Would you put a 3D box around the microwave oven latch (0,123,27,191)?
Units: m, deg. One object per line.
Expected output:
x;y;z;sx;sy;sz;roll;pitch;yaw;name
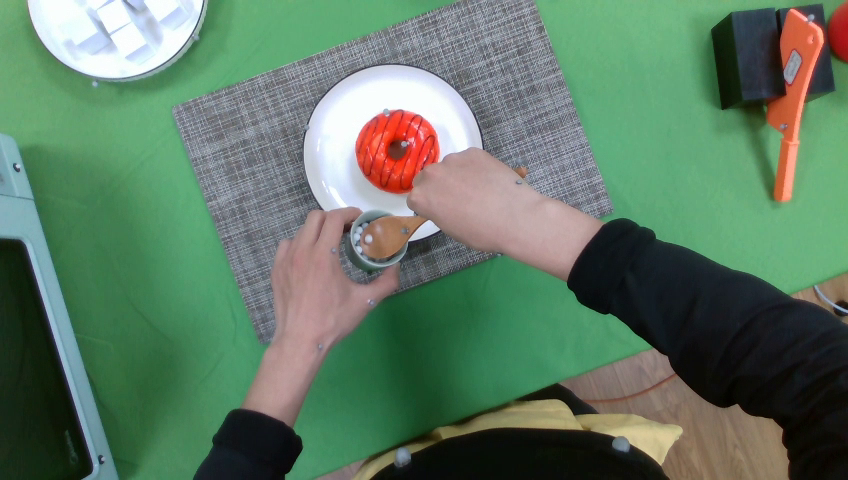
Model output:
-0.480;-0.093;0.685;0.030;0.029;0.079;-16;90;-1;microwave oven latch

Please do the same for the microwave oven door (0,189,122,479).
-0.417;0.115;0.583;0.039;0.244;0.355;-18;89;0;microwave oven door

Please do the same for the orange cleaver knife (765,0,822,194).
0.407;-0.158;0.684;0.012;0.076;0.213;-5;119;2;orange cleaver knife

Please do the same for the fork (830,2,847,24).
0.561;-0.257;0.653;0.206;0.019;0.028;8;87;42;fork

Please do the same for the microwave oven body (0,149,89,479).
-0.569;0.118;0.588;0.326;0.260;0.441;-18;90;-1;microwave oven body

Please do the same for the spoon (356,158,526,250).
0.011;-0.034;0.569;0.193;0.022;0.041;-23;78;35;spoon

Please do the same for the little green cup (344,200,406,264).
-0.053;-0.006;0.619;0.062;0.039;0.061;9;66;-20;little green cup

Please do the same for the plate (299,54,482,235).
-0.038;-0.107;0.702;0.209;0.038;0.209;0;90;0;plate

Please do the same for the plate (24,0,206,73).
-0.353;-0.295;0.706;0.208;0.039;0.207;0;89;0;plate

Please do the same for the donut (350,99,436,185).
-0.035;-0.111;0.690;0.099;0.048;0.099;0;92;1;donut
